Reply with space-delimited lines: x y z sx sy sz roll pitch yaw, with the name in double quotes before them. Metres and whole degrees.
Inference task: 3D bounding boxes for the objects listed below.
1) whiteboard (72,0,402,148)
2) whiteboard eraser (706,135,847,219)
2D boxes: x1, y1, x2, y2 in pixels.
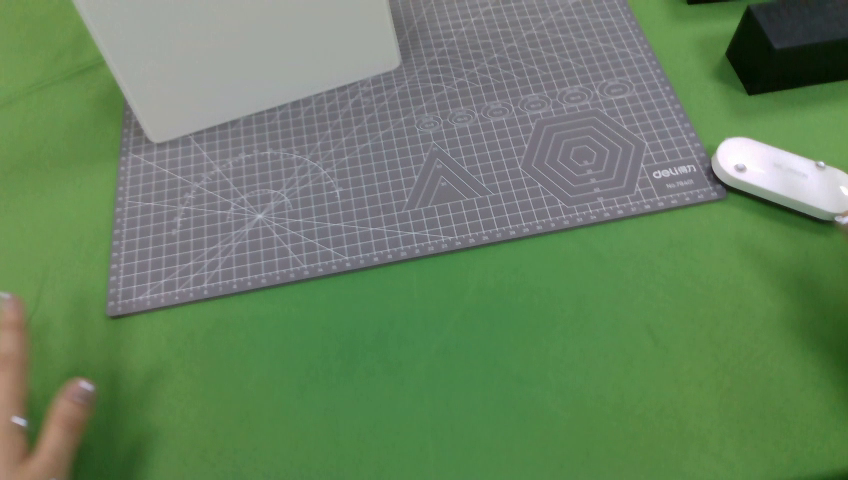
"whiteboard" -0.165 -0.263 0.452 0.217 0.308 0.142 -19 42 -7
"whiteboard eraser" 0.259 -0.046 0.437 0.101 0.019 0.041 23 64 15
